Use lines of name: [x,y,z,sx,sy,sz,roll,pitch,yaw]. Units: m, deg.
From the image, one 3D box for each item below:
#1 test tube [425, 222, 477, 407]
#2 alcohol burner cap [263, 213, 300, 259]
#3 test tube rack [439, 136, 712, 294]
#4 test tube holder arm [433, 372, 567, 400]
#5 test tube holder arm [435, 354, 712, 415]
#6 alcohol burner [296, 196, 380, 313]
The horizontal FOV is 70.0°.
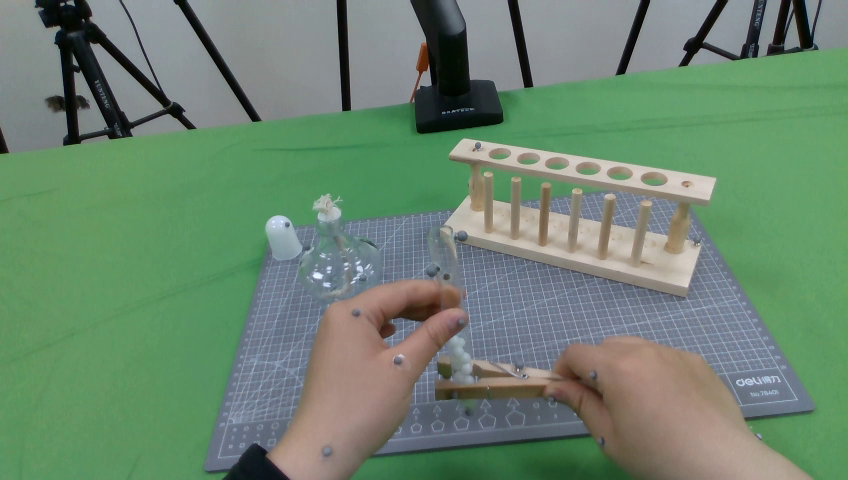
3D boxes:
test tube: [0.019,0.054,0.383,0.017,0.151,0.017,-7,35,5]
alcohol burner cap: [-0.151,-0.007,0.636,0.034,0.048,0.033,-4,40,4]
test tube rack: [0.132,-0.030,0.577,0.241,0.086,0.066,14,44,26]
test tube holder arm: [0.050,0.097,0.404,0.088,0.015,0.010,-4,42,2]
test tube holder arm: [0.095,0.095,0.402,0.178,0.015,0.013,5,44,12]
alcohol burner: [-0.080,0.009,0.546,0.078,0.120,0.077,-4,40,4]
